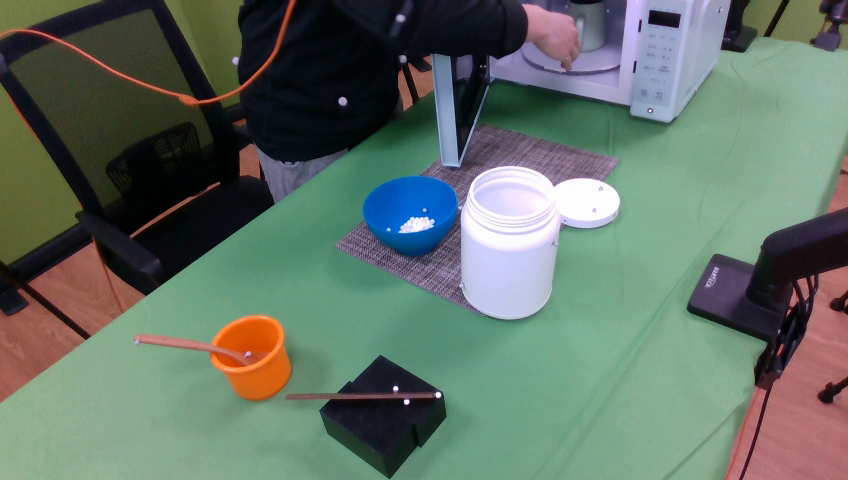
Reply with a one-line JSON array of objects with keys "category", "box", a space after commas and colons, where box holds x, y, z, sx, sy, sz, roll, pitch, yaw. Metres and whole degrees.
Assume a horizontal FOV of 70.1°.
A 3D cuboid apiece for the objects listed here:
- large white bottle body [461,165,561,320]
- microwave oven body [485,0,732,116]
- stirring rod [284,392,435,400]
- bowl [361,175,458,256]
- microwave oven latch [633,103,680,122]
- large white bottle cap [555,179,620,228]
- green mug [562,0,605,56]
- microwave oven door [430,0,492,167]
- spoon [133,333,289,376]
[{"category": "large white bottle body", "box": [0.115, 0.004, 0.815, 0.130, 0.185, 0.130, -2, 43, 2]}, {"category": "microwave oven body", "box": [0.377, -0.463, 1.267, 0.438, 0.261, 0.327, 21, 49, 30]}, {"category": "stirring rod", "box": [-0.075, 0.180, 0.698, 0.176, 0.006, 0.014, -2, 6, 7]}, {"category": "bowl", "box": [-0.019, -0.028, 0.955, 0.151, 0.077, 0.150, -4, 40, 4]}, {"category": "microwave oven latch", "box": [0.443, -0.249, 1.158, 0.078, 0.029, 0.030, 21, 49, 30]}, {"category": "large white bottle cap", "box": [0.265, -0.062, 1.001, 0.115, 0.018, 0.114, -4, 41, 4]}, {"category": "green mug", "box": [0.336, -0.450, 1.292, 0.092, 0.105, 0.125, 6, 50, 21]}, {"category": "microwave oven door", "box": [0.079, -0.340, 1.160, 0.039, 0.245, 0.355, 4, 42, 15]}, {"category": "spoon", "box": [-0.257, 0.137, 0.747, 0.021, 0.195, 0.041, -47, 40, 23]}]
